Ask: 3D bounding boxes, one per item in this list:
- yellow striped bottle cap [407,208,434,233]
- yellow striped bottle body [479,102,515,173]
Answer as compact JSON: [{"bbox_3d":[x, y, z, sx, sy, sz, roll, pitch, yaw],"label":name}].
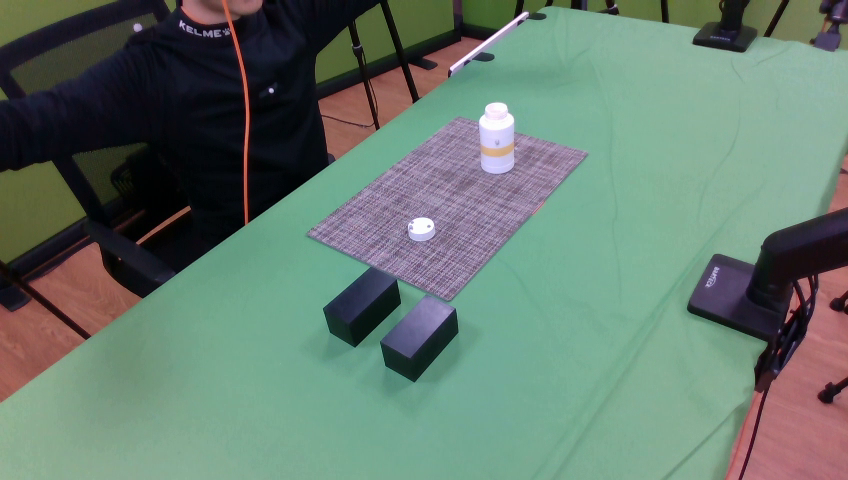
[{"bbox_3d":[-0.006,-0.032,0.971,0.044,0.019,0.044,2,44,-2],"label":"yellow striped bottle cap"},{"bbox_3d":[0.131,-0.186,1.083,0.063,0.121,0.062,-4,41,4],"label":"yellow striped bottle body"}]
